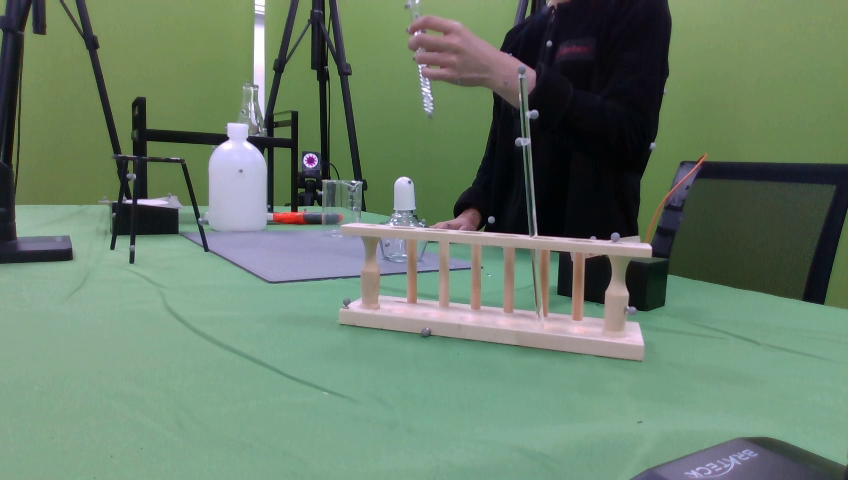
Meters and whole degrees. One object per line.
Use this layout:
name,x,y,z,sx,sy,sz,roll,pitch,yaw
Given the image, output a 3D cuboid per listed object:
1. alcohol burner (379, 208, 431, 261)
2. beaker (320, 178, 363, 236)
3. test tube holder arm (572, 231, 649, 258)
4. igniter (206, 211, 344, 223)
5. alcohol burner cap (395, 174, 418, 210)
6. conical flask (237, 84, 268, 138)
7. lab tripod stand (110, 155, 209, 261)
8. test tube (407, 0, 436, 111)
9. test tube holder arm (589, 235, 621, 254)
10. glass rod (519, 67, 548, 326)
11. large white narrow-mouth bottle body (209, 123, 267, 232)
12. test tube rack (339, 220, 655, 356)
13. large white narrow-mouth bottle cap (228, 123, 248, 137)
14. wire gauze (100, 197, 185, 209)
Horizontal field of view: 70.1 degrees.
alcohol burner,-0.027,-0.031,0.838,0.078,0.119,0.078,0,6,0
beaker,-0.145,-0.059,1.078,0.074,0.100,0.083,-4,10,-36
test tube holder arm,0.204,0.002,0.649,0.013,0.015,0.179,-13,-4,39
igniter,-0.302,-0.048,1.249,0.278,0.025,0.057,-2,-2,-27
alcohol burner cap,-0.026,-0.067,0.834,0.034,0.048,0.034,-2,12,1
conical flask,-0.402,-0.299,1.406,0.075,0.122,0.075,2,7,0
lab tripod stand,-0.361,-0.046,0.806,0.148,0.131,0.148,2,5,0
test tube,-0.002,-0.253,0.835,0.017,0.150,0.017,-9,25,5
test tube holder arm,0.180,0.005,0.610,0.010,0.015,0.088,-13,-4,38
glass rod,0.084,-0.029,0.459,0.008,0.199,0.008,-7,11,2
large white narrow-mouth bottle body,-0.340,-0.115,1.109,0.102,0.194,0.102,2,8,0
test tube rack,0.056,0.032,0.495,0.242,0.085,0.067,4,7,15
large white narrow-mouth bottle cap,-0.338,-0.199,1.097,0.038,0.024,0.037,2,8,0
wire gauze,-0.469,-0.062,1.008,0.126,0.011,0.121,-2,8,-25
